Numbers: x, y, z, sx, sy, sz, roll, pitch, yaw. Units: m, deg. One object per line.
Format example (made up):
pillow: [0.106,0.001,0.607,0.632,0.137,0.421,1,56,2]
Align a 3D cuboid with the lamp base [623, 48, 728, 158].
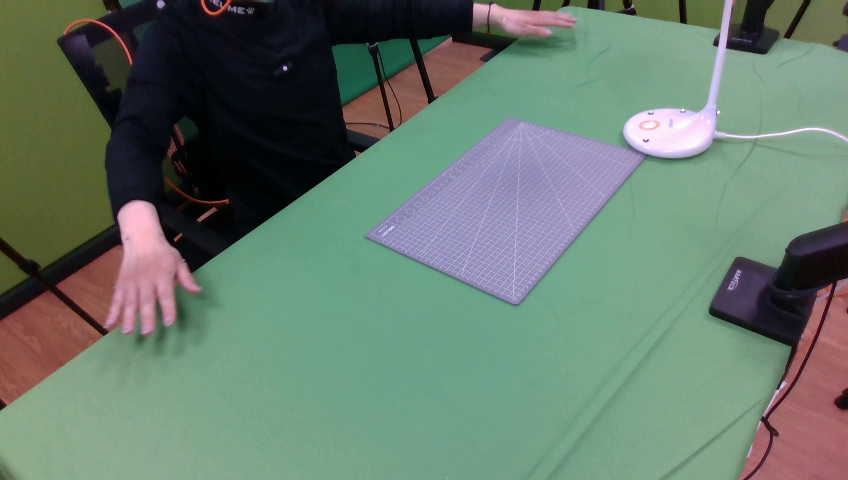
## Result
lamp base: [0.462,-0.261,1.084,0.179,0.181,0.160,3,42,7]
